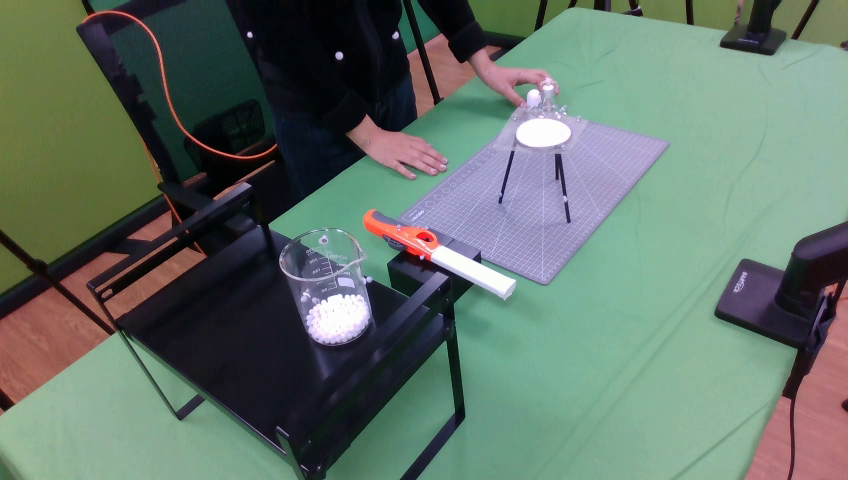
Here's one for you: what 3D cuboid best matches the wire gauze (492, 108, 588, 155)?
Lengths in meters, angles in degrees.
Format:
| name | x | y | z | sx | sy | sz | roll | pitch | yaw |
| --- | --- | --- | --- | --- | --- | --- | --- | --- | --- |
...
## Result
| name | x | y | z | sx | sy | sz | roll | pitch | yaw |
| --- | --- | --- | --- | --- | --- | --- | --- | --- | --- |
| wire gauze | 0.185 | -0.170 | 0.953 | 0.121 | 0.011 | 0.125 | 13 | 44 | 22 |

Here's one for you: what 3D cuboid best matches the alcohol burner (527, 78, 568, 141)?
| name | x | y | z | sx | sy | sz | roll | pitch | yaw |
| --- | --- | --- | --- | --- | --- | --- | --- | --- | --- |
| alcohol burner | 0.238 | -0.253 | 1.163 | 0.078 | 0.119 | 0.077 | -6 | 40 | 6 |

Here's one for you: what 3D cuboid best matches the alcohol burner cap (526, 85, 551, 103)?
| name | x | y | z | sx | sy | sz | roll | pitch | yaw |
| --- | --- | --- | --- | --- | --- | --- | --- | --- | --- |
| alcohol burner cap | 0.233 | -0.296 | 1.238 | 0.048 | 0.034 | 0.033 | -16 | 41 | -13 |

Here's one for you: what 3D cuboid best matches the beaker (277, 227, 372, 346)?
| name | x | y | z | sx | sy | sz | roll | pitch | yaw |
| --- | --- | --- | --- | --- | --- | --- | --- | --- | --- |
| beaker | -0.090 | 0.048 | 0.593 | 0.084 | 0.101 | 0.073 | -3 | 41 | 5 |

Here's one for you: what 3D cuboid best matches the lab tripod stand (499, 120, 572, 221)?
| name | x | y | z | sx | sy | sz | roll | pitch | yaw |
| --- | --- | --- | --- | --- | --- | --- | --- | --- | --- |
| lab tripod stand | 0.198 | -0.117 | 0.992 | 0.148 | 0.132 | 0.147 | -3 | 40 | 3 |

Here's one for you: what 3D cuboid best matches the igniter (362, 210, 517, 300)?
| name | x | y | z | sx | sy | sz | roll | pitch | yaw |
| --- | --- | --- | --- | --- | --- | --- | --- | --- | --- |
| igniter | 0.011 | 0.015 | 0.880 | 0.274 | 0.025 | 0.057 | 26 | 49 | 30 |
